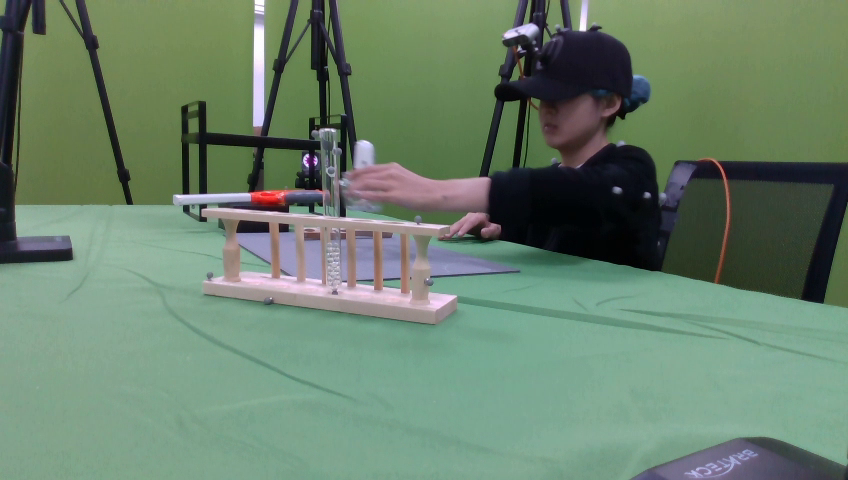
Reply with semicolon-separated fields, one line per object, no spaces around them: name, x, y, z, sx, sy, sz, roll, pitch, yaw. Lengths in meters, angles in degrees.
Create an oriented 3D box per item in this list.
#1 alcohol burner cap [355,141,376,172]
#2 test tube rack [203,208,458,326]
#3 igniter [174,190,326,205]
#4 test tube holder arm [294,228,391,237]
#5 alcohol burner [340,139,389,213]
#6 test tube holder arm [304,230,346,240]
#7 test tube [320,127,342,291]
alcohol burner cap;-0.092;-0.133;0.966;0.034;0.048;0.034;3;4;0
test tube rack;-0.090;0.019;0.579;0.241;0.085;0.067;5;7;19
igniter;-0.317;-0.079;1.131;0.278;0.025;0.057;-4;13;-32
test tube holder arm;-0.138;-0.013;1.055;0.179;0.015;0.013;-1;44;-32
alcohol burner;-0.094;-0.103;0.970;0.078;0.119;0.078;4;6;0
test tube holder arm;-0.175;-0.009;1.027;0.088;0.015;0.010;0;44;-31
test tube;-0.084;-0.027;0.554;0.017;0.150;0.017;-1;7;0
